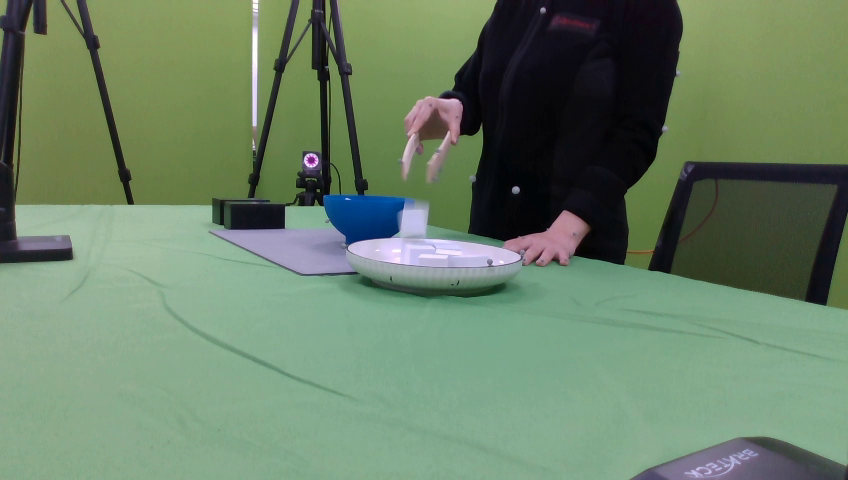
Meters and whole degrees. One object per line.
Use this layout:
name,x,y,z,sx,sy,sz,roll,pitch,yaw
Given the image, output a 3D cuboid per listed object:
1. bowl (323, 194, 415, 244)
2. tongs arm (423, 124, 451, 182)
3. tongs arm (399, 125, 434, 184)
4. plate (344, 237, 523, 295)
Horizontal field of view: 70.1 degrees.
bowl,-0.090,-0.032,0.986,0.151,0.077,0.151,2,7,0
tongs arm,0.010,-0.141,0.921,0.051,0.026,0.385,-2,17,11
tongs arm,-0.011,-0.139,0.922,0.028,0.028,0.387,-7,17,7
plate,0.010,0.030,0.707,0.208,0.039,0.207,3,8,0
